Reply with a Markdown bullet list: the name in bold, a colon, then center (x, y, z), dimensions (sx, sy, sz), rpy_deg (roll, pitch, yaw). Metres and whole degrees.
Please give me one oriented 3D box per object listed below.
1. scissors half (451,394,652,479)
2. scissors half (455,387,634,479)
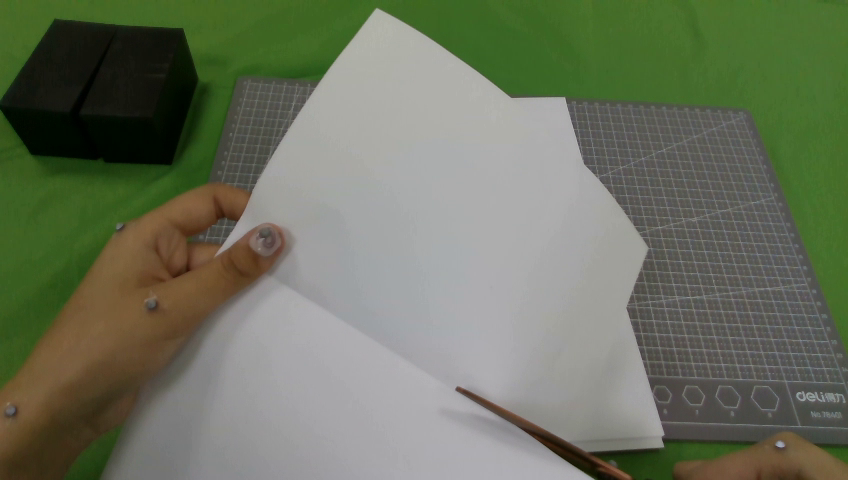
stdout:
- **scissors half**: center (0.090, 0.100, 0.250), dimensions (0.174, 0.040, 0.013), rpy_deg (20, 63, 18)
- **scissors half**: center (0.088, 0.109, 0.271), dimensions (0.176, 0.040, 0.012), rpy_deg (32, 69, -9)
